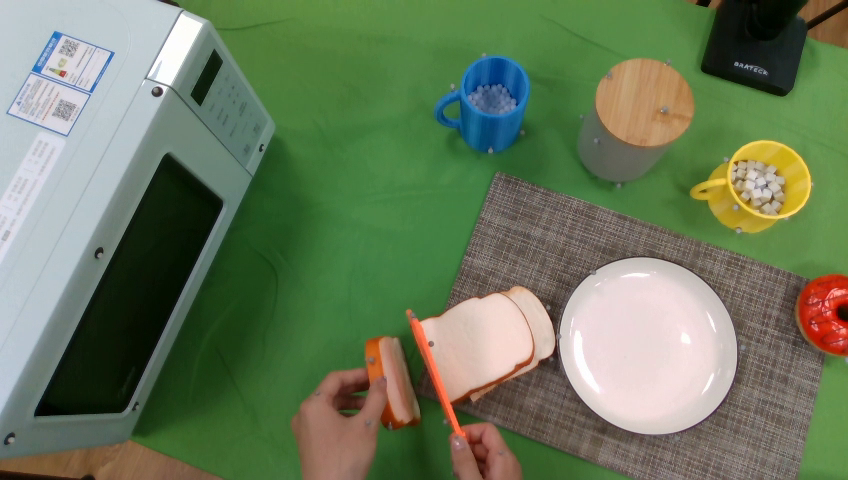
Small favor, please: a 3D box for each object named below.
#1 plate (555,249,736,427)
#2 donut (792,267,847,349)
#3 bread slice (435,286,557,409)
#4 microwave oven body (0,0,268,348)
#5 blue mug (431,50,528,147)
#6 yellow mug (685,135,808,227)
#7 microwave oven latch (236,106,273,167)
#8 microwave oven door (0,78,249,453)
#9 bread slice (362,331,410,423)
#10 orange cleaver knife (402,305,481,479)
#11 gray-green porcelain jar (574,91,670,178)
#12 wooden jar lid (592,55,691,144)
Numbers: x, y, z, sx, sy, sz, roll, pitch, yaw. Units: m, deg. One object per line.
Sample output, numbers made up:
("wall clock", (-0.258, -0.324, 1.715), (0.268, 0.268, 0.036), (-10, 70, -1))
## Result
("plate", (0.259, 0.115, 0.723), (0.207, 0.039, 0.206), (0, 77, 2))
("donut", (0.490, 0.081, 0.721), (0.099, 0.048, 0.098), (0, 78, 2))
("bread slice", (0.095, 0.122, 0.725), (0.131, 0.019, 0.104), (-35, 85, -8))
("microwave oven body", (-0.428, -0.049, 0.666), (0.325, 0.261, 0.440), (20, 79, 6))
("blue mug", (0.067, -0.173, 0.764), (0.116, 0.106, 0.082), (-6, 76, 1))
("yellow mug", (0.392, -0.070, 0.752), (0.131, 0.064, 0.099), (-3, 77, 2))
("microwave oven latch", (-0.222, -0.136, 0.779), (0.030, 0.029, 0.079), (23, 79, 7))
("microwave oven door", (-0.309, 0.038, 0.637), (0.039, 0.245, 0.354), (20, 78, 7))
("bread slice", (-0.042, 0.150, 0.681), (0.018, 0.135, 0.106), (-15, 75, 4))
("orange cleaver knife", (0.019, 0.168, 0.645), (0.012, 0.077, 0.211), (-21, 89, -9))
("gray-green porcelain jar", (0.245, -0.141, 0.741), (0.106, 0.127, 0.105), (0, 76, 2))
("wooden jar lid", (0.242, -0.156, 0.681), (0.108, 0.021, 0.108), (0, 75, 2))
